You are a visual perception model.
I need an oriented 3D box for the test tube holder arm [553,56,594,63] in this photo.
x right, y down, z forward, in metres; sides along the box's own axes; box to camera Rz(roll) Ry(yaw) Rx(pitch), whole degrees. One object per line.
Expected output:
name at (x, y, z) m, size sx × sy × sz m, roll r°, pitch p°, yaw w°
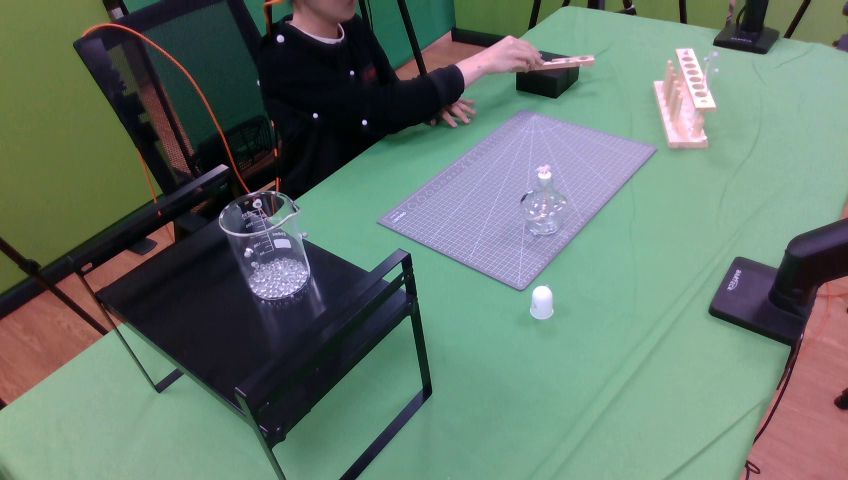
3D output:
test tube holder arm at (0.321, -0.383, 1.299) m, size 0.088 × 0.015 × 0.010 m, roll -6°, pitch 45°, yaw 4°

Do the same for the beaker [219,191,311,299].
beaker at (-0.164, 0.008, 0.654) m, size 0.084 × 0.101 × 0.073 m, roll -10°, pitch 41°, yaw -3°

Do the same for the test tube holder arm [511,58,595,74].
test tube holder arm at (0.276, -0.374, 1.298) m, size 0.178 × 0.015 × 0.013 m, roll -6°, pitch 45°, yaw 3°

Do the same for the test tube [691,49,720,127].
test tube at (0.505, -0.270, 1.087) m, size 0.017 × 0.151 × 0.017 m, roll -2°, pitch 41°, yaw 2°

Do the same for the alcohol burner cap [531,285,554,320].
alcohol burner cap at (0.164, 0.084, 0.838) m, size 0.034 × 0.048 × 0.033 m, roll -4°, pitch 40°, yaw 4°

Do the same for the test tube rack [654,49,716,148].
test tube rack at (0.502, -0.281, 1.176) m, size 0.066 × 0.085 × 0.241 m, roll 2°, pitch 41°, yaw 11°

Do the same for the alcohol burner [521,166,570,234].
alcohol burner at (0.192, -0.068, 0.951) m, size 0.078 × 0.119 × 0.077 m, roll -4°, pitch 43°, yaw 4°
